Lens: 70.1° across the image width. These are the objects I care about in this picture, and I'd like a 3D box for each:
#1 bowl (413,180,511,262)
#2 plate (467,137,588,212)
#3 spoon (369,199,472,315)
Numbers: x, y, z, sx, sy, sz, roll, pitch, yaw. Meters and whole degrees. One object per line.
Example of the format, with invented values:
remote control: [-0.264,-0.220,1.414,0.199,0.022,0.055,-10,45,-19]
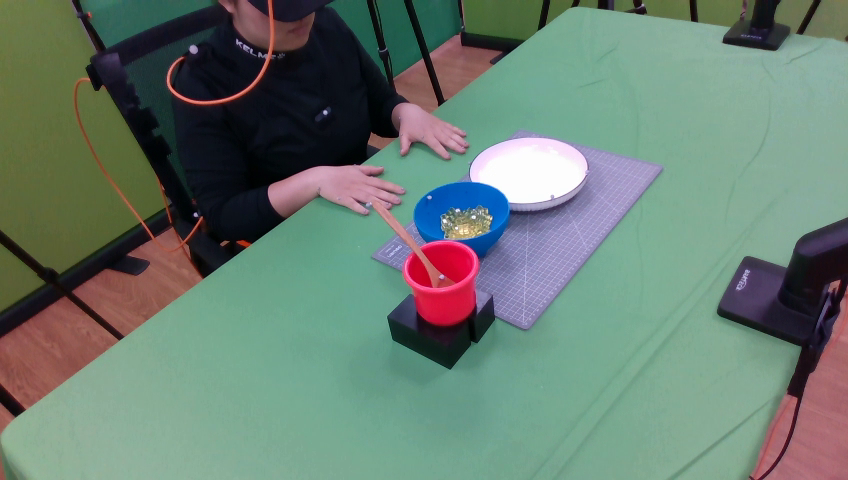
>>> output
bowl: [0.062,-0.019,0.945,0.151,0.077,0.150,-5,40,5]
plate: [0.181,-0.112,1.064,0.207,0.039,0.206,-5,40,5]
spoon: [-0.006,0.020,0.787,0.042,0.021,0.194,-39,92,-28]
